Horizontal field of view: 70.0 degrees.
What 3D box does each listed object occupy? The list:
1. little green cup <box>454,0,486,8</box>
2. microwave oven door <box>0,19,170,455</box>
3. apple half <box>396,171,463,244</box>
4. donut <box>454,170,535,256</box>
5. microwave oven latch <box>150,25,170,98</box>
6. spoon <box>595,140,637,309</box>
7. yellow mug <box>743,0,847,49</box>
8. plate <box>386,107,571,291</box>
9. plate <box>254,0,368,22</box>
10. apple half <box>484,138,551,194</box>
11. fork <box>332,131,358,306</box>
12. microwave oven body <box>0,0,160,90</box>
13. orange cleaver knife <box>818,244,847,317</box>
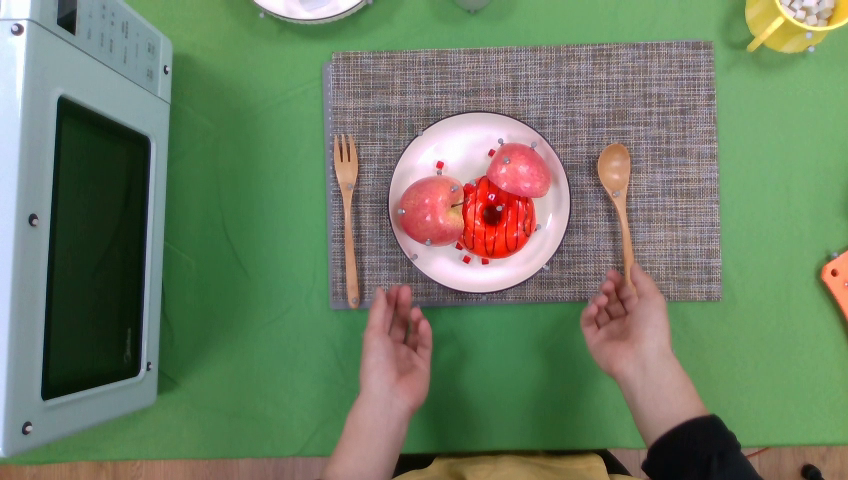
[{"bbox_3d":[0.055,-0.306,0.712,0.061,0.039,0.061,0,87,4],"label":"little green cup"},{"bbox_3d":[-0.332,0.003,0.601,0.039,0.244,0.355,1,87,4],"label":"microwave oven door"},{"bbox_3d":[0.001,-0.038,0.667,0.074,0.054,0.080,-1,84,45],"label":"apple half"},{"bbox_3d":[0.075,-0.031,0.682,0.099,0.048,0.099,0,90,5],"label":"donut"},{"bbox_3d":[-0.318,-0.209,0.713,0.030,0.029,0.079,2,88,3],"label":"microwave oven latch"},{"bbox_3d":[0.224,-0.017,0.690,0.042,0.021,0.193,-7,86,-22],"label":"spoon"},{"bbox_3d":[0.408,-0.263,0.673,0.131,0.064,0.100,-44,85,2],"label":"yellow mug"},{"bbox_3d":[0.061,-0.047,0.694,0.209,0.038,0.208,0,87,4],"label":"plate"},{"bbox_3d":[-0.131,-0.359,0.727,0.207,0.039,0.207,0,87,4],"label":"plate"},{"bbox_3d":[0.109,-0.088,0.667,0.081,0.033,0.080,9,49,-10],"label":"apple half"},{"bbox_3d":[-0.090,-0.026,0.713,0.028,0.018,0.207,-4,85,-1],"label":"fork"},{"bbox_3d":[-0.476,-0.041,0.618,0.326,0.260,0.441,1,88,3],"label":"microwave oven body"},{"bbox_3d":[0.503,0.101,0.670,0.077,0.012,0.210,-17,85,-2],"label":"orange cleaver knife"}]
